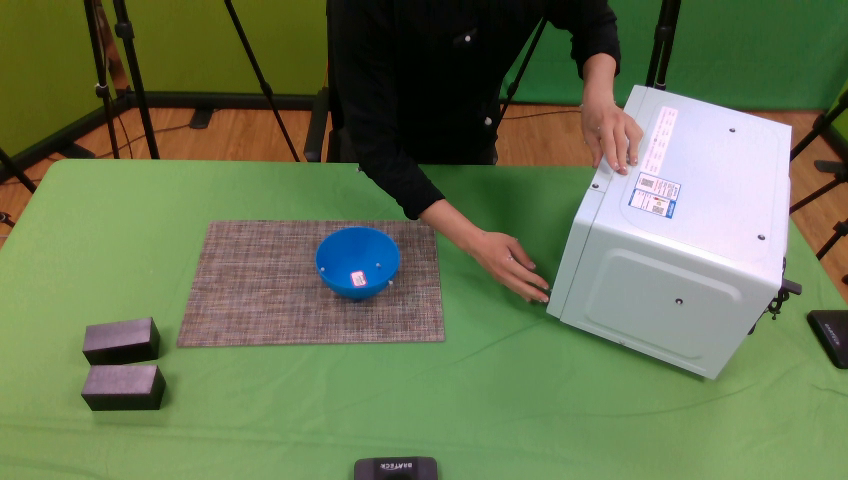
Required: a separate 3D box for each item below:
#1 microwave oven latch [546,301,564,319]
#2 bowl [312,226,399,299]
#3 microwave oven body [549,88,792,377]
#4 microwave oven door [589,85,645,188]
[{"bbox_3d":[0.244,0.104,1.079,0.030,0.029,0.079,26,49,21],"label":"microwave oven latch"},{"bbox_3d":[-0.120,0.054,1.091,0.151,0.077,0.150,2,46,-2],"label":"bowl"},{"bbox_3d":[0.456,-0.028,1.088,0.325,0.261,0.440,20,47,16],"label":"microwave oven body"},{"bbox_3d":[0.342,-0.107,1.148,0.039,0.245,0.354,20,48,15],"label":"microwave oven door"}]
